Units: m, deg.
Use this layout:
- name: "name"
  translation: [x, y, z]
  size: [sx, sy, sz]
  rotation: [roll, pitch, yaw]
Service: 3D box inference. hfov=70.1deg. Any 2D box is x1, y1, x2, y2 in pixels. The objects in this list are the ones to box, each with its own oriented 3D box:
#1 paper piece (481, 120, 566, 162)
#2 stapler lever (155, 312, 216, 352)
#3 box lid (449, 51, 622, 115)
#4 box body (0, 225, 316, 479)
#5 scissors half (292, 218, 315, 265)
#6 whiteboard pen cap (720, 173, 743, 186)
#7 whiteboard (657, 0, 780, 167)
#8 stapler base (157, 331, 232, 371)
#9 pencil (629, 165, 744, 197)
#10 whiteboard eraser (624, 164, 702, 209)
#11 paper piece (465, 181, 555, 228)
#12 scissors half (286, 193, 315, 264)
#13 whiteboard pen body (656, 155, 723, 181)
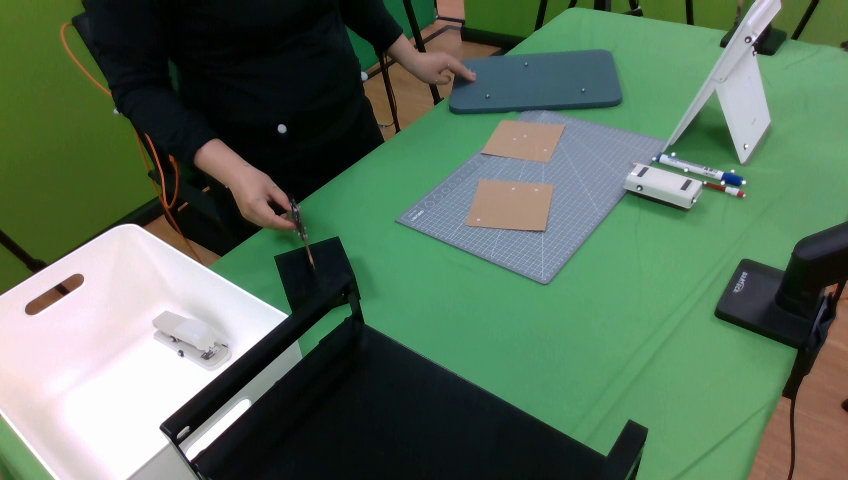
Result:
- name: "paper piece"
  translation: [0.197, -0.199, 1.188]
  size: [0.135, 0.004, 0.135]
  rotation: [11, 44, 21]
- name: "stapler lever"
  translation: [-0.331, 0.122, 0.834]
  size: [0.117, 0.040, 0.027]
  rotation: [17, 43, 32]
- name: "box lid"
  translation: [0.249, -0.358, 1.370]
  size: [0.371, 0.015, 0.262]
  rotation: [-1, 40, 9]
- name: "box body"
  translation: [-0.339, 0.162, 0.728]
  size: [0.361, 0.161, 0.255]
  rotation: [23, 48, 31]
- name: "scissors half"
  translation: [-0.188, -0.003, 0.950]
  size: [0.013, 0.040, 0.174]
  rotation: [-22, 30, -10]
- name: "whiteboard pen cap"
  translation: [0.519, -0.103, 1.020]
  size: [0.033, 0.018, 0.018]
  rotation: [23, 49, 30]
- name: "whiteboard"
  translation: [0.571, -0.272, 1.038]
  size: [0.143, 0.306, 0.218]
  rotation: [37, 54, 17]
- name: "stapler base"
  translation: [-0.326, 0.142, 0.849]
  size: [0.129, 0.024, 0.041]
  rotation: [18, 43, 32]
- name: "pencil"
  translation: [0.447, -0.103, 1.038]
  size: [0.192, 0.012, 0.012]
  rotation: [21, 48, 29]
- name: "whiteboard eraser"
  translation: [0.396, -0.087, 1.003]
  size: [0.112, 0.042, 0.056]
  rotation: [22, 47, 31]
- name: "paper piece"
  translation: [0.149, -0.062, 1.035]
  size: [0.137, 0.009, 0.136]
  rotation: [4, 37, 17]
- name: "scissors half"
  translation: [-0.191, -0.019, 0.937]
  size: [0.013, 0.040, 0.173]
  rotation: [-18, 46, -14]
- name: "whiteboard pen body"
  translation: [0.475, -0.123, 1.052]
  size: [0.139, 0.017, 0.017]
  rotation: [24, 50, 32]
